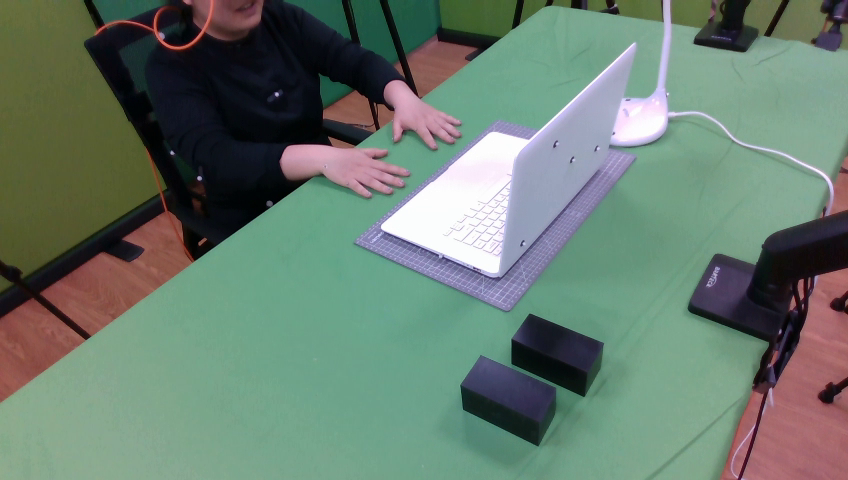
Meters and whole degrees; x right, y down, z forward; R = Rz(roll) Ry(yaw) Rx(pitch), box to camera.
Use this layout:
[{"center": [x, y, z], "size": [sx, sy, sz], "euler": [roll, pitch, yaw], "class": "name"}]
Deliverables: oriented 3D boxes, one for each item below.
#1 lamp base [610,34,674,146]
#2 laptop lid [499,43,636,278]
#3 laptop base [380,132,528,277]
[{"center": [0.392, -0.291, 1.129], "size": [0.180, 0.181, 0.159], "euler": [-11, 41, -8], "class": "lamp base"}, {"center": [0.216, -0.122, 0.898], "size": [0.013, 0.242, 0.358], "euler": [28, 50, 25], "class": "laptop lid"}, {"center": [0.122, -0.077, 1.043], "size": [0.233, 0.023, 0.355], "euler": [20, 47, 33], "class": "laptop base"}]
